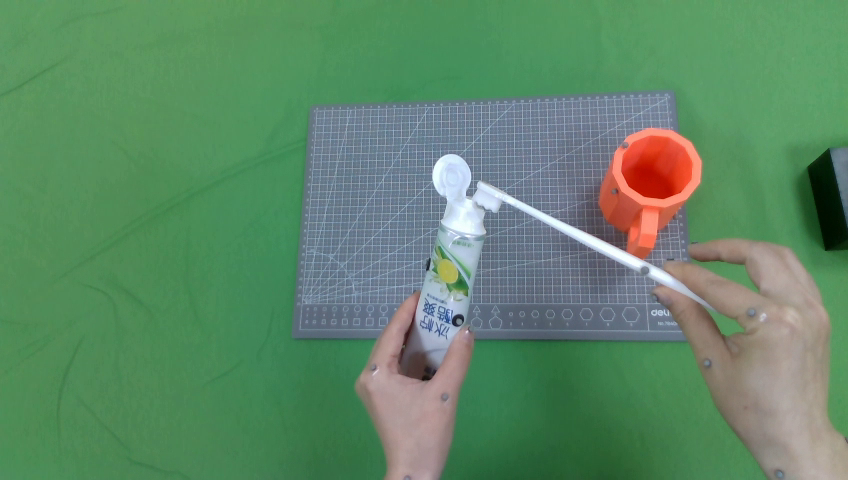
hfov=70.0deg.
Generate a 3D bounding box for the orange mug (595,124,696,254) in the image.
[{"bbox_3d":[0.232,-0.048,0.646,0.083,0.101,0.125,8,71,9],"label":"orange mug"}]

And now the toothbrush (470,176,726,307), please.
[{"bbox_3d":[0.108,0.000,0.402,0.180,0.014,0.017,28,103,21],"label":"toothbrush"}]

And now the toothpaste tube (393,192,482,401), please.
[{"bbox_3d":[0.012,0.042,0.465,0.054,0.034,0.165,22,109,31],"label":"toothpaste tube"}]

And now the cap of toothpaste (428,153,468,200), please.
[{"bbox_3d":[0.020,-0.048,0.456,0.037,0.011,0.037,-1,92,-33],"label":"cap of toothpaste"}]
